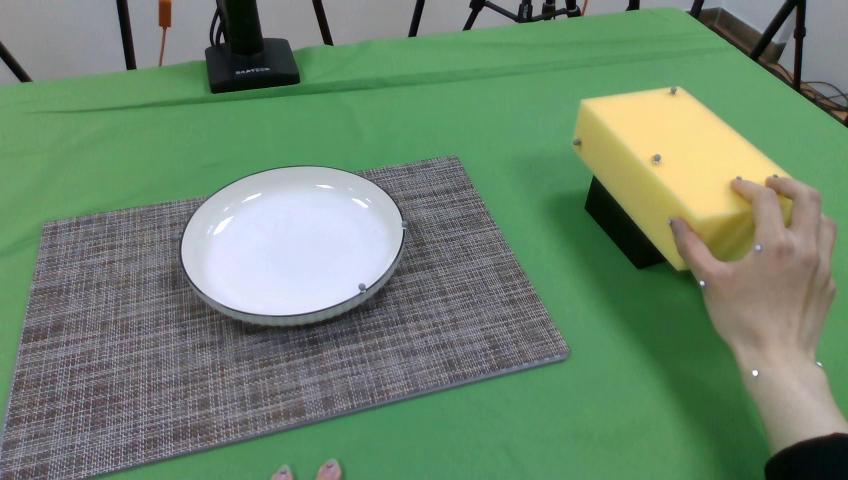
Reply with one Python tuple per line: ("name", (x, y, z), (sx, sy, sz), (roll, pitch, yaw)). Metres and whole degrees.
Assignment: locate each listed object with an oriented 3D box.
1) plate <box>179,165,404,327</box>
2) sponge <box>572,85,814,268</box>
("plate", (-0.123, 0.005, 0.583), (0.208, 0.039, 0.205), (1, 44, -1))
("sponge", (0.246, -0.071, 0.590), (0.118, 0.061, 0.204), (-11, 43, -13))
